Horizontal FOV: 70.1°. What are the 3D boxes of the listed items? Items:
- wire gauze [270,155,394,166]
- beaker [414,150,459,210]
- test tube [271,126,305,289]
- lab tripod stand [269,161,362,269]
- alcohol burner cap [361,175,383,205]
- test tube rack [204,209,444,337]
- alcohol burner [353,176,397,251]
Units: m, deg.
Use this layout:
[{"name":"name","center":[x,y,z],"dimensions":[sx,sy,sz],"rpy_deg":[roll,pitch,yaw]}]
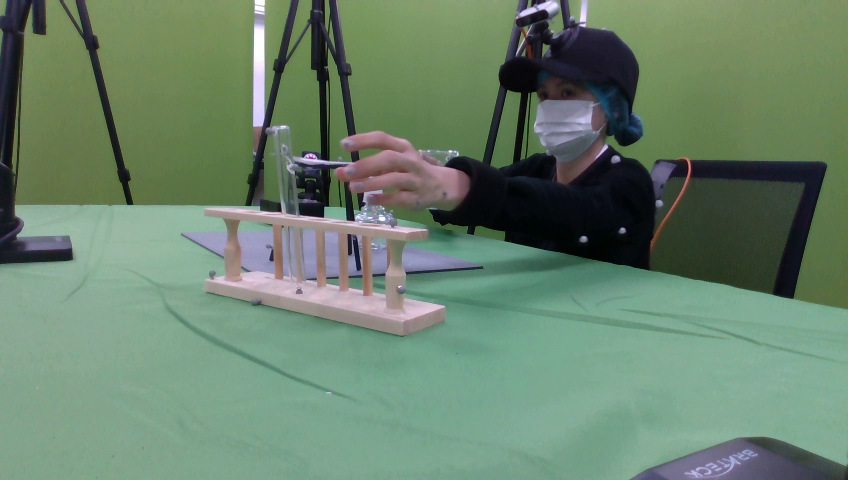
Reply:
[{"name":"wire gauze","center":[-0.121,-0.102,0.785],"dimensions":[0.122,0.011,0.124],"rpy_deg":[-3,10,-38]},{"name":"beaker","center":[0.024,-0.104,1.047],"dimensions":[0.083,0.100,0.074],"rpy_deg":[11,15,40]},{"name":"test tube","center":[-0.124,-0.028,0.554],"dimensions":[0.017,0.150,0.017],"rpy_deg":[-5,7,1]},{"name":"lab tripod stand","center":[-0.125,-0.036,0.794],"dimensions":[0.148,0.131,0.148],"rpy_deg":[5,7,0]},{"name":"alcohol burner cap","center":[-0.080,-0.078,0.945],"dimensions":[0.034,0.048,0.034],"rpy_deg":[5,7,0]},{"name":"test tube rack","center":[-0.100,0.021,0.565],"dimensions":[0.241,0.085,0.067],"rpy_deg":[7,9,32]},{"name":"alcohol burner","center":[-0.082,-0.043,0.950],"dimensions":[0.078,0.119,0.078],"rpy_deg":[1,8,0]}]
